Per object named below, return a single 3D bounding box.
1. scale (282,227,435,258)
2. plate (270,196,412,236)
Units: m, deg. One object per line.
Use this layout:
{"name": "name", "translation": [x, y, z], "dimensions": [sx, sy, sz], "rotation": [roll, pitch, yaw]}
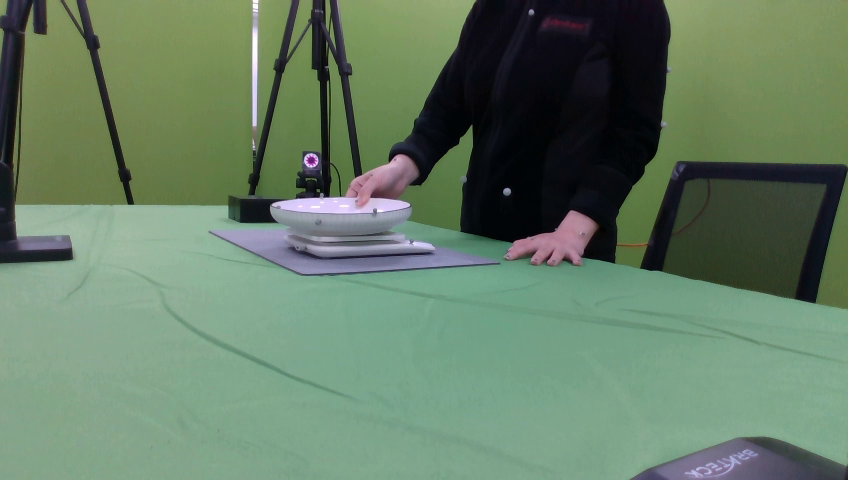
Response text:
{"name": "scale", "translation": [-0.098, 0.000, 0.914], "dimensions": [0.202, 0.031, 0.148], "rotation": [-2, 9, -33]}
{"name": "plate", "translation": [-0.121, -0.037, 0.898], "dimensions": [0.209, 0.038, 0.209], "rotation": [0, 10, 0]}
